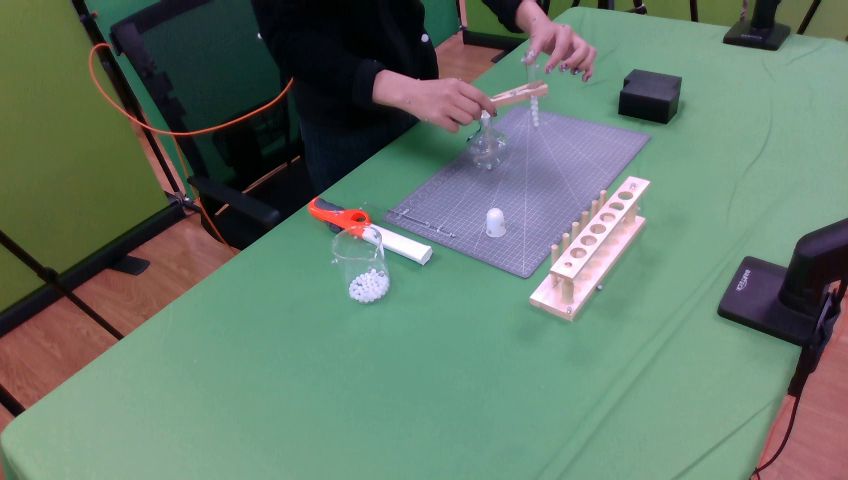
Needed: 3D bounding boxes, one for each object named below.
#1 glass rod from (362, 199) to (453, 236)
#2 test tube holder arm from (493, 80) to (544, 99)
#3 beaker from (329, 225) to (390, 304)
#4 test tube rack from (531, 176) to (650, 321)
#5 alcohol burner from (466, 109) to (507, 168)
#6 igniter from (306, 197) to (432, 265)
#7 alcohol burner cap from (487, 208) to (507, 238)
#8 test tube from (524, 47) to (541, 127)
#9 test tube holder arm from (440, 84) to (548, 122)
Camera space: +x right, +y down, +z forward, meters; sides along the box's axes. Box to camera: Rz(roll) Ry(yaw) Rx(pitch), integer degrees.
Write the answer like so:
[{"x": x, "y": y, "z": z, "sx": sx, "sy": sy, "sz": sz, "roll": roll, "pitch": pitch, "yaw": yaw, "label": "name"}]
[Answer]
[{"x": -0.031, "y": -0.041, "z": 1.041, "sx": 0.198, "sy": 0.008, "sz": 0.008, "roll": 22, "pitch": 50, "yaw": 31, "label": "glass rod"}, {"x": 0.151, "y": -0.236, "z": 0.967, "sx": 0.088, "sy": 0.015, "sz": 0.010, "roll": -22, "pitch": 45, "yaw": -11, "label": "test tube holder arm"}, {"x": -0.089, "y": 0.040, "z": 0.890, "sx": 0.074, "sy": 0.101, "sz": 0.083, "roll": -32, "pitch": 46, "yaw": -24, "label": "beaker"}, {"x": 0.246, "y": 0.002, "z": 0.884, "sx": 0.066, "sy": 0.085, "sz": 0.243, "roll": 22, "pitch": 49, "yaw": 32, "label": "test tube rack"}, {"x": 0.115, "y": -0.193, "z": 1.112, "sx": 0.078, "sy": 0.119, "sz": 0.077, "roll": -4, "pitch": 41, "yaw": 4, "label": "alcohol burner"}, {"x": -0.102, "y": -0.020, "z": 1.019, "sx": 0.274, "sy": 0.025, "sz": 0.057, "roll": 23, "pitch": 59, "yaw": 32, "label": "igniter"}, {"x": 0.116, "y": -0.030, "z": 0.975, "sx": 0.034, "sy": 0.048, "sz": 0.033, "roll": -6, "pitch": 40, "yaw": 5, "label": "alcohol burner cap"}, {"x": 0.175, "y": -0.241, "z": 0.967, "sx": 0.017, "sy": 0.151, "sz": 0.017, "roll": -8, "pitch": 49, "yaw": 10, "label": "test tube"}, {"x": 0.111, "y": -0.218, "z": 0.957, "sx": 0.179, "sy": 0.015, "sz": 0.013, "roll": -17, "pitch": 44, "yaw": -6, "label": "test tube holder arm"}]
